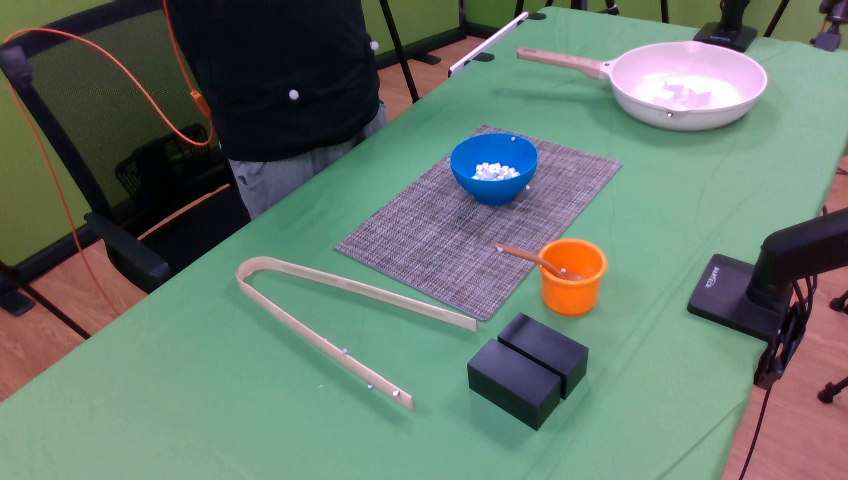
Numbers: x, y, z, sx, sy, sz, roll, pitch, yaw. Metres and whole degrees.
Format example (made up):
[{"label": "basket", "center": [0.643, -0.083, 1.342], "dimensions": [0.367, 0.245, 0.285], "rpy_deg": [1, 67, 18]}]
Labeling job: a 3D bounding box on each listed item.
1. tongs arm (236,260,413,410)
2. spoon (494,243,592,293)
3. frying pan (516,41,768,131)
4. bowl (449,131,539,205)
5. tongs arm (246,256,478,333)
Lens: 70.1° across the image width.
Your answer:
[{"label": "tongs arm", "center": [-0.148, 0.120, 0.839], "dimensions": [0.381, 0.026, 0.051], "rpy_deg": [24, 48, 32]}, {"label": "spoon", "center": [0.162, 0.034, 0.808], "dimensions": [0.021, 0.195, 0.041], "rpy_deg": [-47, 40, 21]}, {"label": "frying pan", "center": [0.424, -0.338, 1.236], "dimensions": [0.486, 0.103, 0.307], "rpy_deg": [19, 45, 15]}, {"label": "bowl", "center": [0.121, -0.114, 1.034], "dimensions": [0.151, 0.077, 0.150], "rpy_deg": [-4, 41, 4]}, {"label": "tongs arm", "center": [-0.101, 0.077, 0.891], "dimensions": [0.385, 0.028, 0.028], "rpy_deg": [14, 47, 22]}]
